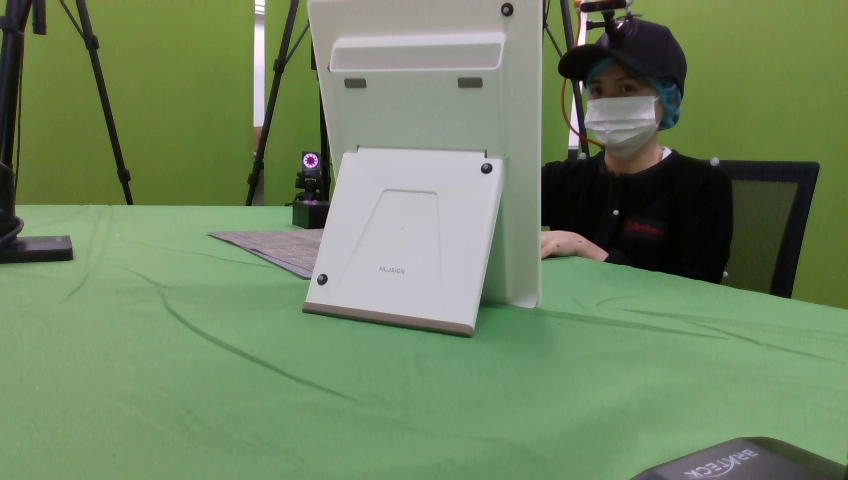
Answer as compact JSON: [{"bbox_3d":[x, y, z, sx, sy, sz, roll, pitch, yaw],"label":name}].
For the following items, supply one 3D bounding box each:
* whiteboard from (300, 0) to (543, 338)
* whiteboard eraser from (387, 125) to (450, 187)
[{"bbox_3d":[-0.020,-0.050,0.523,0.216,0.305,0.144,6,27,22],"label":"whiteboard"},{"bbox_3d":[-0.010,-0.109,0.819,0.056,0.042,0.112,17,-24,-14],"label":"whiteboard eraser"}]
